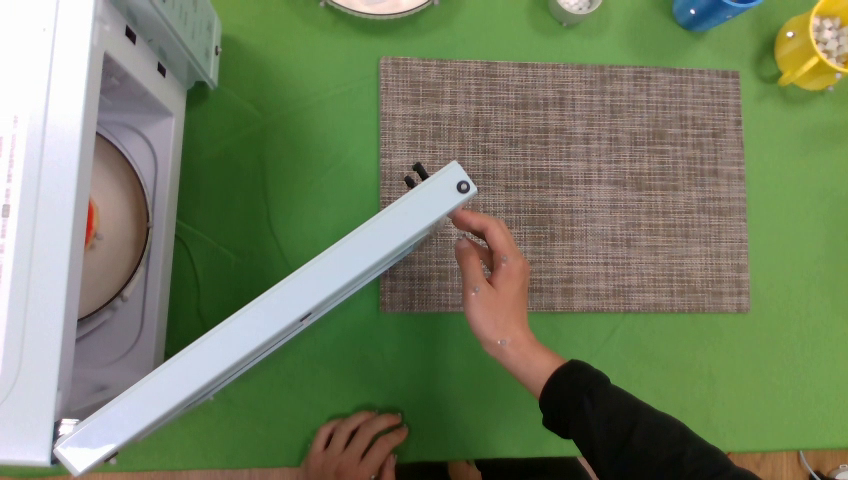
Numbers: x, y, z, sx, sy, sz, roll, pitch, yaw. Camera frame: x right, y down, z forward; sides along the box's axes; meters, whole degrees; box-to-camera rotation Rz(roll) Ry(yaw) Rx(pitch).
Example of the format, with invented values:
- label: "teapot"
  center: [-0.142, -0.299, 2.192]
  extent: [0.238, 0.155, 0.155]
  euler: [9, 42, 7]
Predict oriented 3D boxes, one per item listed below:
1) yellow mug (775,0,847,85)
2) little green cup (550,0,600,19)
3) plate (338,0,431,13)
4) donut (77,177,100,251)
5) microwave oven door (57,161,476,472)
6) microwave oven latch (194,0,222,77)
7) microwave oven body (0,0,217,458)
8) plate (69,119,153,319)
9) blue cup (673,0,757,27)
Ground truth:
- label: "yellow mug"
  center: [0.487, -0.239, 0.740]
  extent: [0.131, 0.064, 0.100]
  euler: [-41, 91, -6]
- label: "little green cup"
  center: [0.182, -0.299, 0.729]
  extent: [0.061, 0.038, 0.061]
  euler: [0, 85, -5]
- label: "plate"
  center: [-0.050, -0.362, 0.710]
  extent: [0.208, 0.039, 0.207]
  euler: [0, 86, -5]
- label: "donut"
  center: [-0.366, -0.028, 0.584]
  extent: [0.099, 0.048, 0.099]
  euler: [0, 89, -2]
- label: "microwave oven door"
  center: [-0.118, 0.058, 0.555]
  extent: [0.356, 0.244, 0.039]
  euler: [-36, 89, -7]
- label: "microwave oven latch"
  center: [-0.239, -0.223, 0.664]
  extent: [0.030, 0.029, 0.079]
  euler: [6, 86, -5]
- label: "microwave oven body"
  center: [-0.388, -0.064, 0.542]
  extent: [0.326, 0.260, 0.441]
  euler: [4, 86, -6]
- label: "plate"
  center: [-0.371, -0.022, 0.592]
  extent: [0.209, 0.038, 0.208]
  euler: [0, 87, -7]
- label: "blue cup"
  center: [0.345, -0.300, 0.713]
  extent: [0.093, 0.100, 0.092]
  euler: [0, 87, -6]
